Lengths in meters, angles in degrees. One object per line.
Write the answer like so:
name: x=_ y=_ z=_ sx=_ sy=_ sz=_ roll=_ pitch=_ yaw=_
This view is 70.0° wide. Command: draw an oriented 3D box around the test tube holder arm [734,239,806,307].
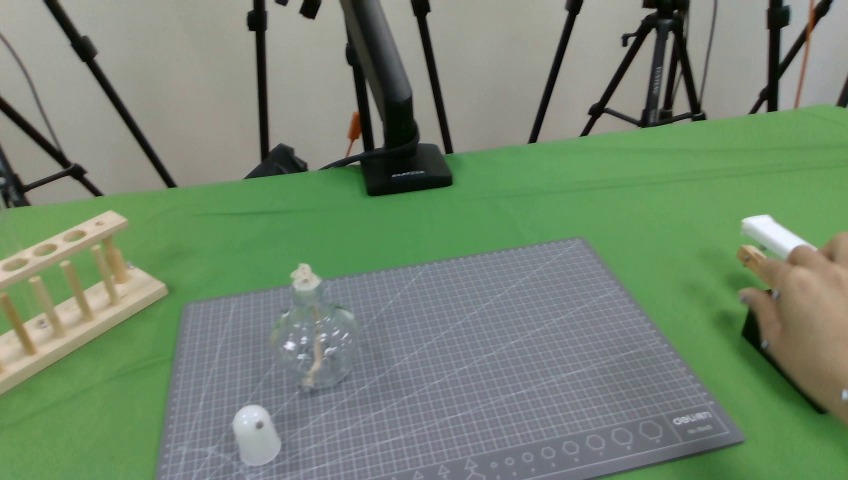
test tube holder arm: x=0.312 y=0.028 z=0.544 sx=0.010 sy=0.015 sz=0.087 roll=-5 pitch=35 yaw=-13

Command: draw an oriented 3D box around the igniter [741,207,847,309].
igniter: x=0.371 y=0.043 z=0.514 sx=0.057 sy=0.025 sz=0.273 roll=-10 pitch=32 yaw=-9

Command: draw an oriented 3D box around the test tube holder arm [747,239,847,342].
test tube holder arm: x=0.328 y=0.052 z=0.509 sx=0.013 sy=0.015 sz=0.176 roll=-5 pitch=35 yaw=-14

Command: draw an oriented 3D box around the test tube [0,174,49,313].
test tube: x=-0.379 y=0.005 z=0.564 sx=0.017 sy=0.151 sz=0.017 roll=-1 pitch=29 yaw=1

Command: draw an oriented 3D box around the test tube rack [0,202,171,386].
test tube rack: x=-0.375 y=0.061 z=0.572 sx=0.066 sy=0.086 sz=0.242 roll=22 pitch=42 yaw=31

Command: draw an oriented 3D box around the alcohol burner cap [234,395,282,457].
alcohol burner cap: x=-0.131 y=0.141 z=0.472 sx=0.034 sy=0.048 sz=0.033 roll=-1 pitch=35 yaw=1

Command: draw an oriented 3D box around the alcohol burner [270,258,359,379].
alcohol burner: x=-0.095 y=0.062 z=0.520 sx=0.078 sy=0.120 sz=0.077 roll=-1 pitch=36 yaw=1
